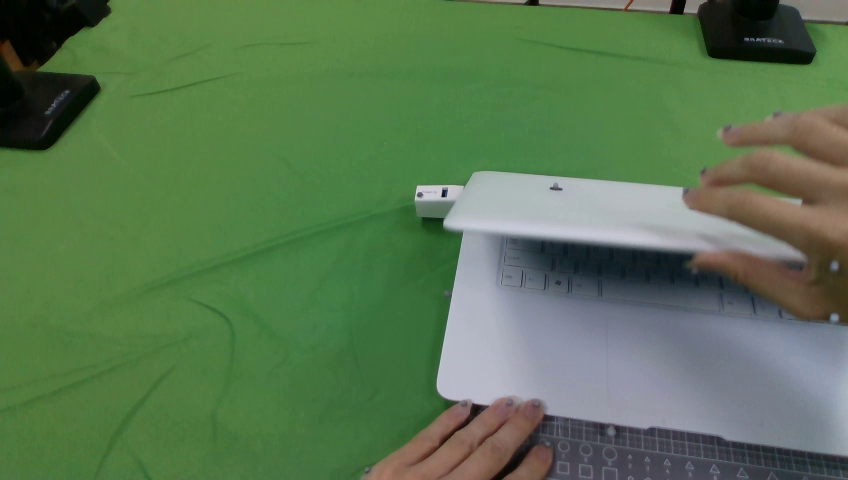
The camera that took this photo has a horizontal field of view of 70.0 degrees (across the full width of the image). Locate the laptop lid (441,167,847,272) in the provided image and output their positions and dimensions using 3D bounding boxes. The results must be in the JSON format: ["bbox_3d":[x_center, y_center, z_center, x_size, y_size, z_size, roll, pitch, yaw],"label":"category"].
[{"bbox_3d":[0.199,-0.021,0.447,0.356,0.013,0.241,6,16,9],"label":"laptop lid"}]

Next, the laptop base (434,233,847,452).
[{"bbox_3d":[0.199,0.045,0.493,0.354,0.023,0.233,6,53,7],"label":"laptop base"}]

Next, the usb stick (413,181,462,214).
[{"bbox_3d":[0.021,-0.039,0.554,0.059,0.027,0.021,4,49,6],"label":"usb stick"}]
